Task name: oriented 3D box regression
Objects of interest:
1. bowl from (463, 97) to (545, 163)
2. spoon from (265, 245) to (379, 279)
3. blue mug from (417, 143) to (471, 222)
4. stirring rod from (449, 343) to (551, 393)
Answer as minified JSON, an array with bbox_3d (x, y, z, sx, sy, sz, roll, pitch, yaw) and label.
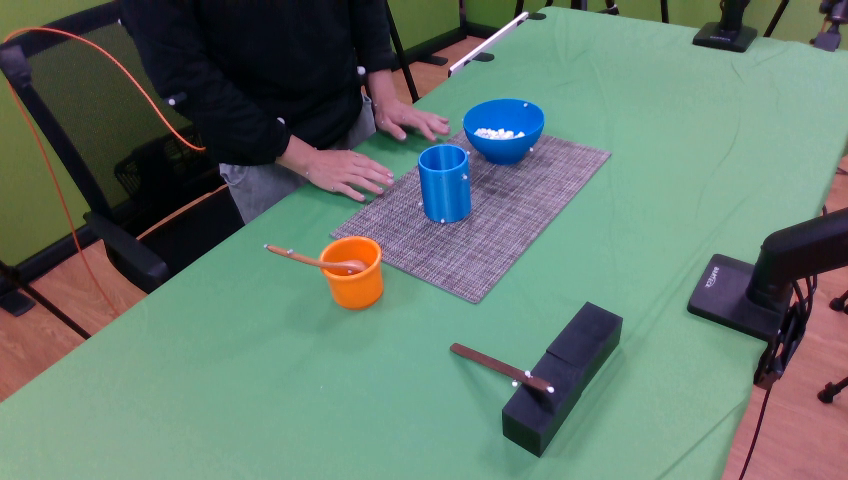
[{"bbox_3d":[0.149,-0.195,1.123,0.151,0.077,0.150,-4,41,4],"label":"bowl"},{"bbox_3d":[-0.137,0.031,0.846,0.195,0.021,0.041,13,16,-45],"label":"spoon"},{"bbox_3d":[0.031,-0.104,1.014,0.082,0.106,0.115,-14,41,-7],"label":"blue mug"},{"bbox_3d":[0.088,0.154,0.741,0.014,0.006,0.174,-39,28,-25],"label":"stirring rod"}]
